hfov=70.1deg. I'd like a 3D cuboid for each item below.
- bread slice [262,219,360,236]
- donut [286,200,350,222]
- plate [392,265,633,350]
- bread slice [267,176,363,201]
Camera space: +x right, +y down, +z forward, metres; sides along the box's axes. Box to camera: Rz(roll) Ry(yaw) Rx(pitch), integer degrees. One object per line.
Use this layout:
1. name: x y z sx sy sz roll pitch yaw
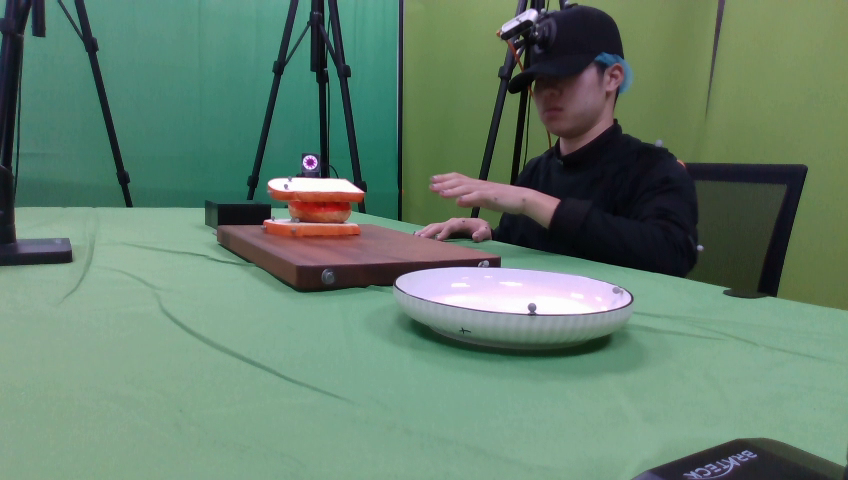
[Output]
1. bread slice: -0.179 -0.021 0.931 0.132 0.019 0.104 -2 7 -35
2. donut: -0.165 -0.051 0.938 0.099 0.048 0.099 4 8 0
3. plate: 0.074 0.057 0.533 0.209 0.038 0.209 3 7 0
4. bread slice: -0.169 -0.078 0.923 0.135 0.018 0.106 -4 18 -26
